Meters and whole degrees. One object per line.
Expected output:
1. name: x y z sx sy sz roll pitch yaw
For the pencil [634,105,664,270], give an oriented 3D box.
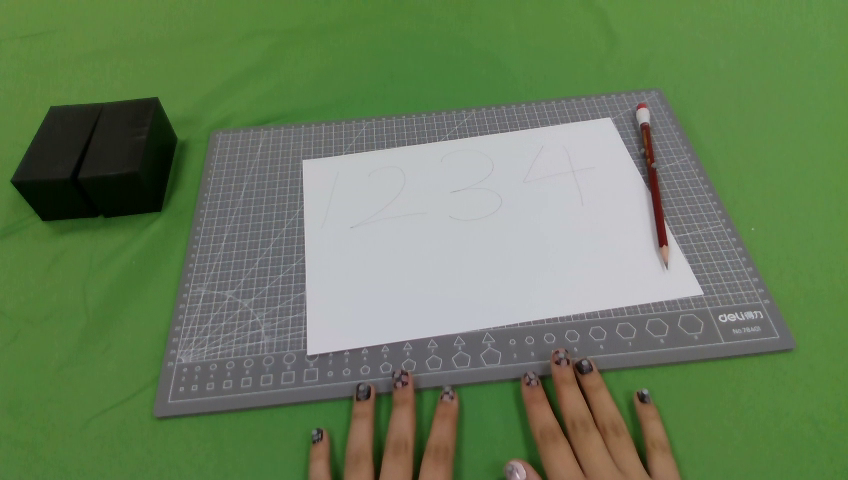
1. pencil: 0.196 -0.052 0.528 0.012 0.012 0.192 4 52 6
